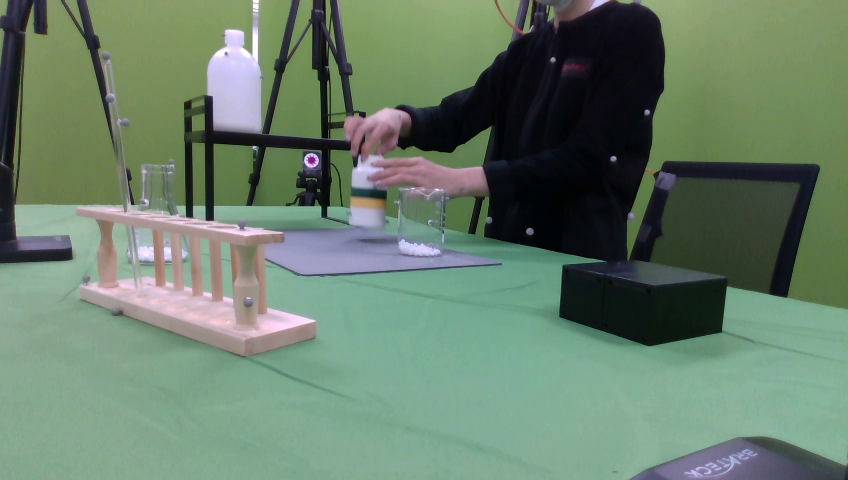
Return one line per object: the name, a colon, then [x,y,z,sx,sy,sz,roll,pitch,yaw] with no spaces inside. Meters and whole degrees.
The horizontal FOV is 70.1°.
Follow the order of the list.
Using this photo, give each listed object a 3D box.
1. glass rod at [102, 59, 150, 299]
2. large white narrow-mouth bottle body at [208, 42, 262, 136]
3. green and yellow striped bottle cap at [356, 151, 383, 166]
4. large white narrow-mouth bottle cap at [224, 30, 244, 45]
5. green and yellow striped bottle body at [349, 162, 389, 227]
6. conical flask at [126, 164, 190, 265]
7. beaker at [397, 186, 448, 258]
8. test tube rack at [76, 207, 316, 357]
glass rod: [-0.243,-0.045,0.496,0.008,0.199,0.008,-3,12,1]
large white narrow-mouth bottle body: [-0.368,-0.304,1.181,0.102,0.194,0.101,2,9,0]
green and yellow striped bottle cap: [-0.091,-0.136,1.019,0.045,0.020,0.045,12,-1,0]
large white narrow-mouth bottle cap: [-0.365,-0.389,1.166,0.038,0.024,0.037,2,9,0]
green and yellow striped bottle body: [-0.093,-0.083,1.026,0.063,0.119,0.063,4,5,0]
conical flask: [-0.332,-0.033,0.756,0.075,0.122,0.075,2,7,0]
beaker: [-0.002,-0.027,0.890,0.074,0.100,0.084,0,8,-11]
test tube rack: [-0.196,0.023,0.500,0.241,0.085,0.067,8,9,36]
